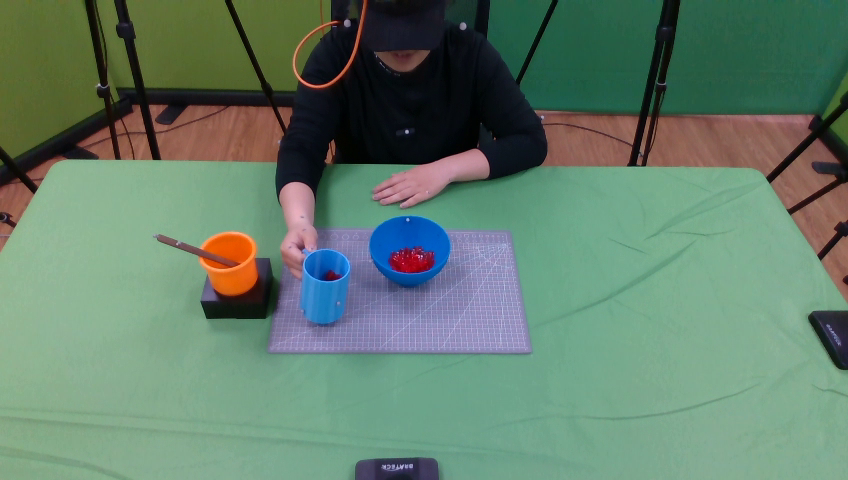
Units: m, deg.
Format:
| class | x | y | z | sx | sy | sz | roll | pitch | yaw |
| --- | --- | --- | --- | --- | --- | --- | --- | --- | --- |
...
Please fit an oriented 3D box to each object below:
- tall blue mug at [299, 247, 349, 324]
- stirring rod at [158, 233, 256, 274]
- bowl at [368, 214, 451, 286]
| class | x | y | z | sx | sy | sz | roll | pitch | yaw |
| --- | --- | --- | --- | --- | --- | --- | --- | --- | --- |
| tall blue mug | -0.182 | 0.071 | 1.022 | 0.107 | 0.108 | 0.077 | 26 | 45 | 12 |
| stirring rod | -0.354 | 0.024 | 1.000 | 0.177 | 0.006 | 0.014 | 27 | 31 | -40 |
| bowl | -0.028 | 0.031 | 1.122 | 0.151 | 0.077 | 0.150 | 2 | 46 | -2 |
